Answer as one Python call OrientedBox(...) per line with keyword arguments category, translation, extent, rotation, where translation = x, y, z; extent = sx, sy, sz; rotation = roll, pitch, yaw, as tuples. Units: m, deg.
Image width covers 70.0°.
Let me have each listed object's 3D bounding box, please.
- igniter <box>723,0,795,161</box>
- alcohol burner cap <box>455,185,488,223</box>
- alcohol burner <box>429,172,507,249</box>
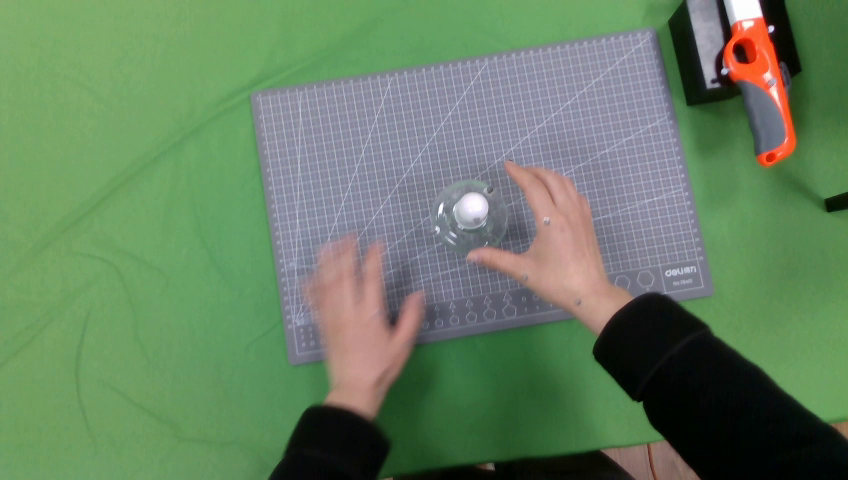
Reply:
OrientedBox(category="igniter", translation=(0.324, -0.214, 0.605), extent=(0.057, 0.025, 0.275), rotation=(-9, 82, 1))
OrientedBox(category="alcohol burner cap", translation=(0.044, -0.035, 0.558), extent=(0.034, 0.048, 0.034), rotation=(0, 85, 2))
OrientedBox(category="alcohol burner", translation=(0.043, -0.031, 0.588), extent=(0.078, 0.119, 0.077), rotation=(0, 85, 2))
